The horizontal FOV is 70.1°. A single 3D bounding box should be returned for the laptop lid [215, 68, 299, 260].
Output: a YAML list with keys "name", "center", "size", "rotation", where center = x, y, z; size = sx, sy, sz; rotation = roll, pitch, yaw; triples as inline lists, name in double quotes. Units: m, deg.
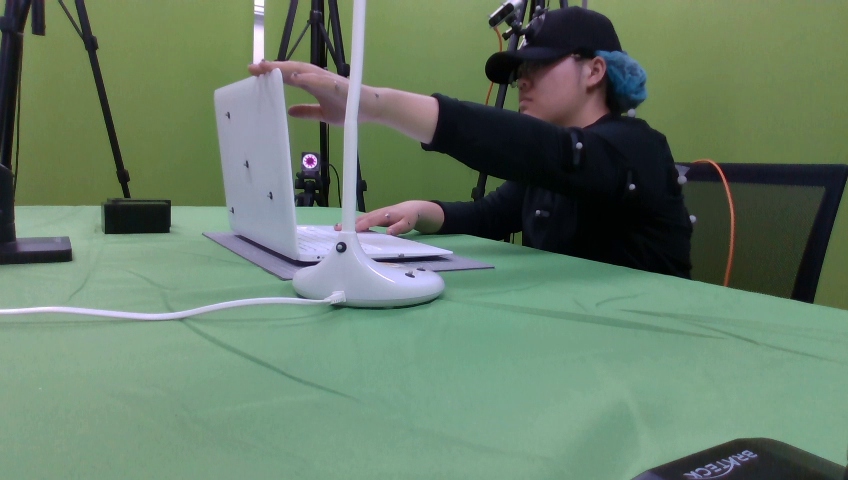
- name: "laptop lid"
  center: [-0.251, -0.111, 0.873]
  size: [0.013, 0.241, 0.355]
  rotation: [-9, 14, -30]

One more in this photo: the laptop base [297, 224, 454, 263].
- name: "laptop base"
  center: [-0.143, 0.004, 0.957]
  size: [0.237, 0.023, 0.352]
  rotation: [2, 6, -32]

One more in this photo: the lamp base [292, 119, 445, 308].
- name: "lamp base"
  center: [-0.056, -0.030, 0.616]
  size: [0.160, 0.180, 0.179]
  rotation: [4, 10, 8]
